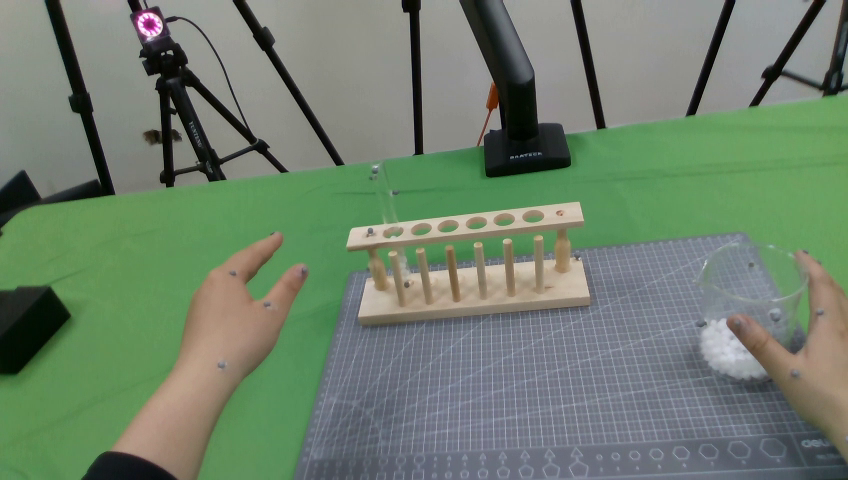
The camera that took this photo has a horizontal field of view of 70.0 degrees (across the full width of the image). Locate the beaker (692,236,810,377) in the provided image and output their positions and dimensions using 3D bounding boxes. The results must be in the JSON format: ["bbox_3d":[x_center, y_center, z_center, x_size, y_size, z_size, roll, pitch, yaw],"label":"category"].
[{"bbox_3d":[0.265,0.059,0.504,0.084,0.101,0.073,-7,36,11],"label":"beaker"}]

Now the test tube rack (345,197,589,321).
[{"bbox_3d":[0.044,0.022,0.633,0.242,0.086,0.066,-6,36,9],"label":"test tube rack"}]

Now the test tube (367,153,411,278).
[{"bbox_3d":[-0.035,-0.021,0.631,0.017,0.151,0.017,-9,33,6],"label":"test tube"}]
